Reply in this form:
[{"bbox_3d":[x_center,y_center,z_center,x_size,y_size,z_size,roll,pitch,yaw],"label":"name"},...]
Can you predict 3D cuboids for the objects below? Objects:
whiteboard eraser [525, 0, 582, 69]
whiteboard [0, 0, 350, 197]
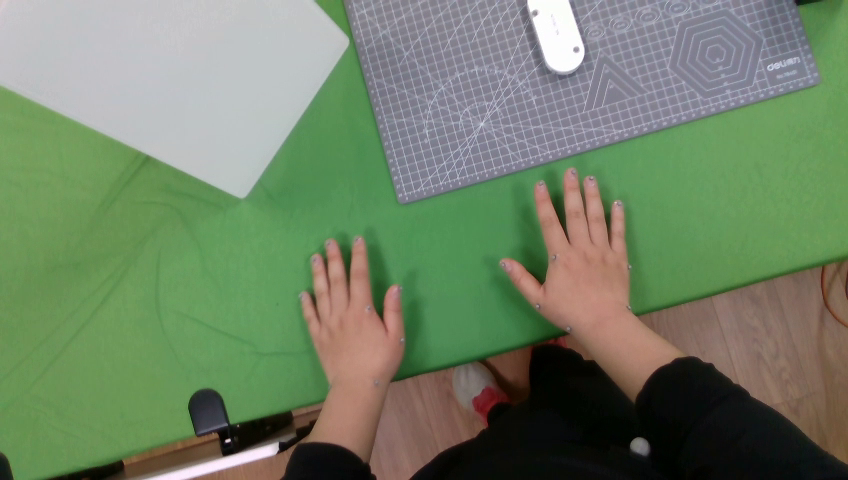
[{"bbox_3d":[0.135,-0.230,0.636,0.041,0.019,0.101,-17,86,5],"label":"whiteboard eraser"},{"bbox_3d":[-0.251,-0.209,0.572,0.142,0.308,0.217,36,92,27],"label":"whiteboard"}]
